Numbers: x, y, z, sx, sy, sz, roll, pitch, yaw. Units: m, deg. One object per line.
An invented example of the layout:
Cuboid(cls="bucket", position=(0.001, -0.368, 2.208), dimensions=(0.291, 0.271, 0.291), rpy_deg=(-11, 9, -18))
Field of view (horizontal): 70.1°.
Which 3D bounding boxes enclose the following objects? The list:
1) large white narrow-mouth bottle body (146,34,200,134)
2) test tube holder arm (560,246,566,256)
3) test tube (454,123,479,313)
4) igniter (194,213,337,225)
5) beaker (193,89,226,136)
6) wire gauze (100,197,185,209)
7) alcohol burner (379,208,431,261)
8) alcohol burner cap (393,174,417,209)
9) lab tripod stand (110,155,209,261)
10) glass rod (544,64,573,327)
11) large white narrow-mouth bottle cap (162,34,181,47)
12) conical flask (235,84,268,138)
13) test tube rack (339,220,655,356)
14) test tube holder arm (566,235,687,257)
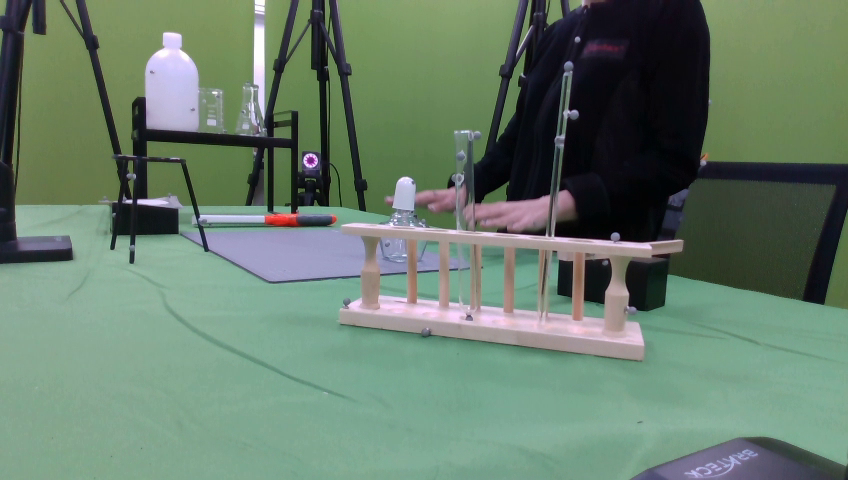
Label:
Cuboid(cls="large white narrow-mouth bottle body", position=(-0.512, -0.318, 1.234), dimensions=(0.102, 0.194, 0.102), rpy_deg=(2, 7, 0))
Cuboid(cls="test tube holder arm", position=(0.173, 0.007, 0.611), dimensions=(0.088, 0.015, 0.010), rpy_deg=(-3, 9, -30))
Cuboid(cls="test tube", position=(0.034, -0.016, 0.477), dimensions=(0.017, 0.150, 0.017), rpy_deg=(-2, 9, 1))
Cuboid(cls="igniter", position=(-0.306, -0.042, 1.196), dimensions=(0.278, 0.025, 0.057), rpy_deg=(-2, -2, -31))
Cuboid(cls="beaker", position=(-0.485, -0.284, 1.353), dimensions=(0.073, 0.100, 0.084), rpy_deg=(8, 10, 42))
Cuboid(cls="wire gauze", position=(-0.469, -0.062, 1.008), dimensions=(0.126, 0.011, 0.121), rpy_deg=(-2, 8, -25))
Cuboid(cls="alcohol burner", position=(-0.027, -0.031, 0.838), dimensions=(0.078, 0.119, 0.078), rpy_deg=(0, 6, 0))
Cuboid(cls="alcohol burner cap", position=(-0.025, -0.067, 0.834), dimensions=(0.034, 0.048, 0.034), rpy_deg=(8, 7, -1))
Cuboid(cls="lab tripod stand", position=(-0.361, -0.046, 0.806), dimensions=(0.148, 0.131, 0.148), rpy_deg=(2, 5, 0))
Cuboid(cls="glass rod", position=(0.101, -0.028, 0.453), dimensions=(0.008, 0.199, 0.008), rpy_deg=(2, 14, 0))
Cuboid(cls="large white narrow-mouth bottle cap", position=(-0.510, -0.402, 1.224), dimensions=(0.038, 0.024, 0.037), rpy_deg=(2, 7, 0))
Cuboid(cls="conical flask", position=(-0.401, -0.299, 1.406), dimensions=(0.075, 0.122, 0.075), rpy_deg=(2, 7, 0))
Cuboid(cls="test tube rack", position=(0.056, 0.032, 0.495), dimensions=(0.242, 0.085, 0.067), rpy_deg=(4, 7, 15))
Cuboid(cls="test tube holder arm", position=(0.215, 0.006, 0.630), dimensions=(0.179, 0.015, 0.013), rpy_deg=(-3, 9, -31))
